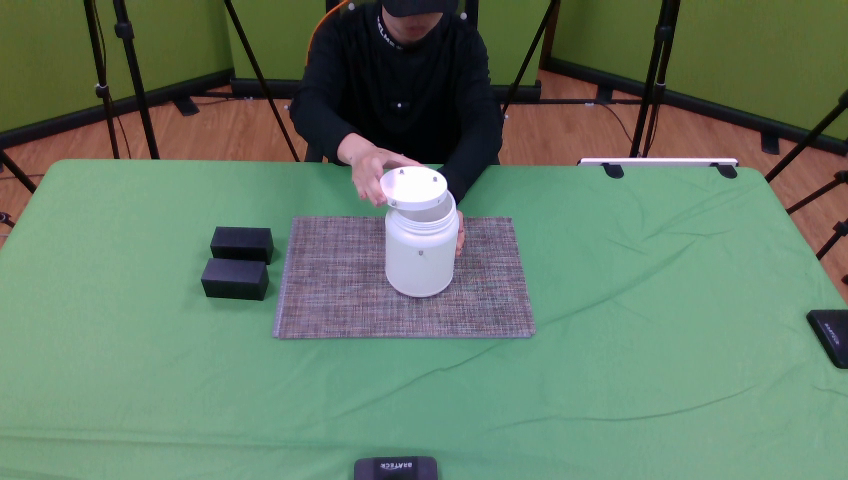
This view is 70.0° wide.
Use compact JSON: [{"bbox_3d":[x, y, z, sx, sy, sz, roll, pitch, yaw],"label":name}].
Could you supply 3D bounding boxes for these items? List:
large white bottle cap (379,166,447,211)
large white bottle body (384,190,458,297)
[{"bbox_3d":[-0.019,-0.088,1.007,0.115,0.018,0.114,1,38,-1],"label":"large white bottle cap"},{"bbox_3d":[-0.006,-0.002,1.082,0.131,0.185,0.130,2,46,-2],"label":"large white bottle body"}]
